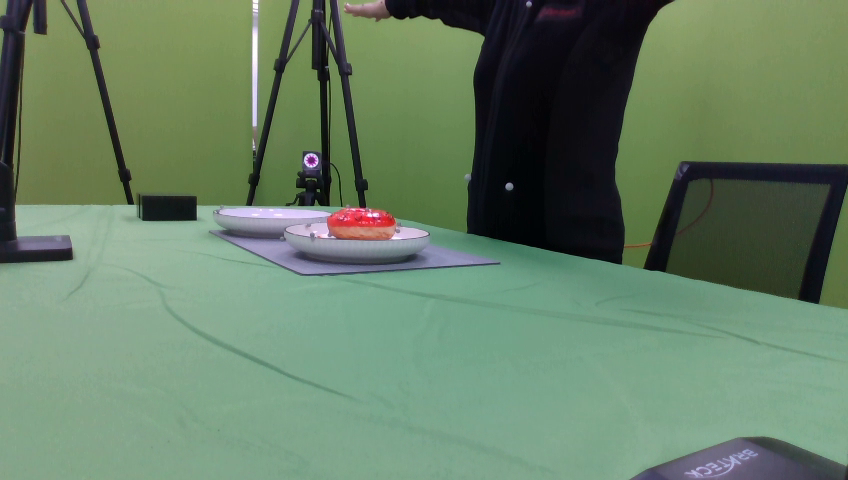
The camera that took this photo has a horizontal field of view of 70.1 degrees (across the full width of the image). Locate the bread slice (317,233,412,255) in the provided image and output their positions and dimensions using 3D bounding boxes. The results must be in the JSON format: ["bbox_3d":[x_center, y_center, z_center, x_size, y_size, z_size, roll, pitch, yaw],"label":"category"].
[{"bbox_3d":[-0.096,0.004,0.862,0.107,0.018,0.133,-1,6,-31],"label":"bread slice"}]

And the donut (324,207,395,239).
[{"bbox_3d":[-0.089,-0.022,0.847,0.099,0.048,0.099,4,8,0],"label":"donut"}]

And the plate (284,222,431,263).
[{"bbox_3d":[-0.094,0.003,0.868,0.209,0.038,0.209,2,7,0],"label":"plate"}]

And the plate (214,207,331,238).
[{"bbox_3d":[-0.268,-0.032,1.085,0.208,0.039,0.207,2,7,0],"label":"plate"}]
